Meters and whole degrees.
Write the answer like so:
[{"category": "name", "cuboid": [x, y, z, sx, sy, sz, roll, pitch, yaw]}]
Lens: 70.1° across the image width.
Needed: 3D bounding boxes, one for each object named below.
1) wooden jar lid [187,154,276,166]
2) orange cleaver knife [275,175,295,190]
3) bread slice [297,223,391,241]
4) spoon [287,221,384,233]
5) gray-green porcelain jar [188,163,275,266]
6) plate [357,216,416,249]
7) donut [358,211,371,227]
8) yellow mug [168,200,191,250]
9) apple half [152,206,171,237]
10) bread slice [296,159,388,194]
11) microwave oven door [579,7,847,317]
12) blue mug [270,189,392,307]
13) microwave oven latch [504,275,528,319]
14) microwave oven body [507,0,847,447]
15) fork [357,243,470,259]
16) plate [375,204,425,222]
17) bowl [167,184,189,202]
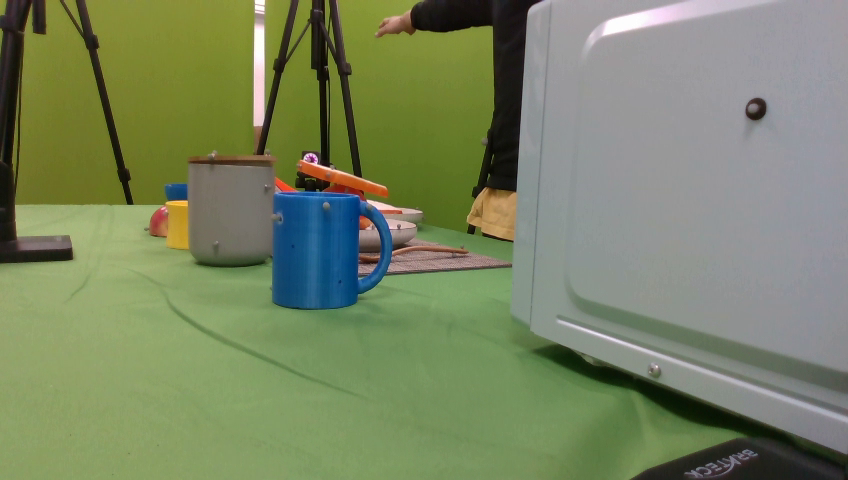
[{"category": "wooden jar lid", "cuboid": [-0.244, -0.097, 0.771, 0.108, 0.020, 0.108, -1, 7, 0]}, {"category": "orange cleaver knife", "cuboid": [-0.283, -0.087, 1.343, 0.212, 0.077, 0.012, 24, -16, -41]}, {"category": "bread slice", "cuboid": [-0.121, -0.014, 0.970, 0.106, 0.018, 0.135, 9, 9, 40]}, {"category": "spoon", "cuboid": [-0.157, -0.027, 1.110, 0.195, 0.021, 0.041, -4, -14, -35]}, {"category": "gray-green porcelain jar", "cuboid": [-0.246, -0.034, 0.779, 0.106, 0.126, 0.106, 1, 7, 0]}, {"category": "plate", "cuboid": [-0.116, -0.014, 0.967, 0.208, 0.039, 0.207, 2, 7, 0]}, {"category": "donut", "cuboid": [-0.129, -0.042, 0.957, 0.099, 0.048, 0.099, 3, 7, 0]}, {"category": "yellow mug", "cuboid": [-0.320, -0.023, 0.904, 0.130, 0.064, 0.100, 8, 10, 36]}, {"category": "apple half", "cuboid": [-0.415, -0.034, 1.017, 0.081, 0.053, 0.074, 1, 10, -8]}, {"category": "bread slice", "cuboid": [-0.132, -0.102, 0.952, 0.132, 0.019, 0.104, 13, 6, -36]}, {"category": "microwave oven door", "cuboid": [0.294, -0.066, 0.570, 0.358, 0.243, 0.039, -3, 9, -31]}, {"category": "blue mug", "cuboid": [-0.090, 0.005, 0.588, 0.117, 0.106, 0.082, 1, 7, -10]}, {"category": "microwave oven latch", "cuboid": [0.100, 0.041, 0.471, 0.079, 0.029, 0.030, -1, 7, -27]}, {"category": "microwave oven body", "cuboid": [0.331, -0.042, 0.425, 0.444, 0.260, 0.324, -2, 8, -31]}, {"category": "fork", "cuboid": [-0.017, 0.014, 0.845, 0.208, 0.018, 0.028, -5, -4, -36]}, {"category": "plate", "cuboid": [-0.102, -0.053, 1.299, 0.209, 0.038, 0.209, 2, 8, 0]}, {"category": "bowl", "cuboid": [-0.408, -0.064, 1.154, 0.151, 0.077, 0.151, 2, 8, 0]}]
